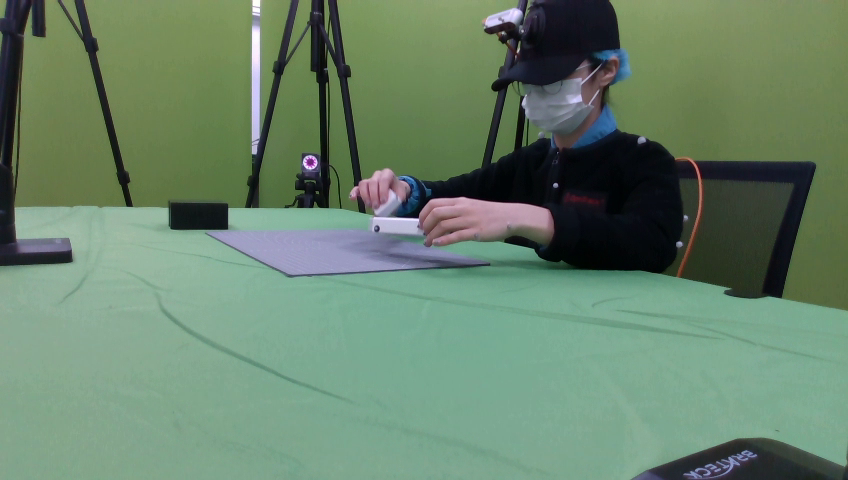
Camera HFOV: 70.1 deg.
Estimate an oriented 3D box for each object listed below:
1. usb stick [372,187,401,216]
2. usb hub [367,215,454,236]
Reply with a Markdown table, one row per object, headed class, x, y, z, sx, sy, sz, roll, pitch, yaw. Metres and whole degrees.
| class | x | y | z | sx | sy | sz | roll | pitch | yaw |
| --- | --- | --- | --- | --- | --- | --- | --- | --- | --- |
| usb stick | -0.067 | -0.056 | 0.998 | 0.021 | 0.059 | 0.027 | 30 | 10 | -50 |
| usb hub | -0.021 | -0.021 | 0.888 | 0.124 | 0.025 | 0.050 | 2 | -2 | 34 |
